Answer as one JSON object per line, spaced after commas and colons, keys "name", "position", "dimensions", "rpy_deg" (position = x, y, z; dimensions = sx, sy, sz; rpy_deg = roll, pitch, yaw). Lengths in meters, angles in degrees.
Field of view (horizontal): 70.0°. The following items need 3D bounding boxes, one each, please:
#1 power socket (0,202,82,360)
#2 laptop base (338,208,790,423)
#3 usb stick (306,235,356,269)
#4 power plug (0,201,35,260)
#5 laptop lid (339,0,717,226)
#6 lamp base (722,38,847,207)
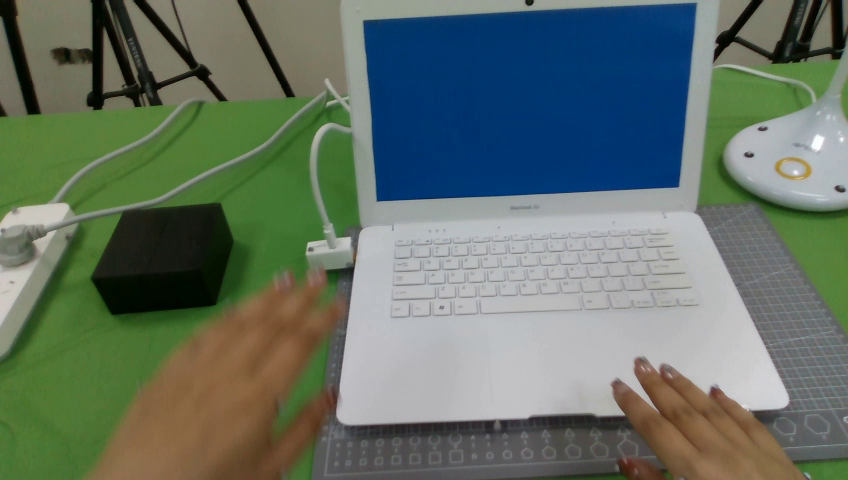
{"name": "power socket", "position": [-0.419, 0.035, 0.614], "dimensions": [0.072, 0.033, 0.224], "rpy_deg": [-4, 41, -2]}
{"name": "laptop base", "position": [0.107, 0.059, 0.554], "dimensions": [0.354, 0.023, 0.233], "rpy_deg": [-3, 45, 2]}
{"name": "usb stick", "position": [-0.086, 0.011, 0.607], "dimensions": [0.059, 0.027, 0.021], "rpy_deg": [-4, 40, 1]}
{"name": "power plug", "position": [-0.412, -0.015, 0.595], "dimensions": [0.053, 0.073, 0.035], "rpy_deg": [10, 24, -19]}
{"name": "laptop lid", "position": [0.101, -0.129, 0.599], "dimensions": [0.357, 0.243, 0.013], "rpy_deg": [-4, 21, 2]}
{"name": "lamp base", "position": [0.427, -0.155, 0.648], "dimensions": [0.159, 0.182, 0.179], "rpy_deg": [21, 45, 26]}
